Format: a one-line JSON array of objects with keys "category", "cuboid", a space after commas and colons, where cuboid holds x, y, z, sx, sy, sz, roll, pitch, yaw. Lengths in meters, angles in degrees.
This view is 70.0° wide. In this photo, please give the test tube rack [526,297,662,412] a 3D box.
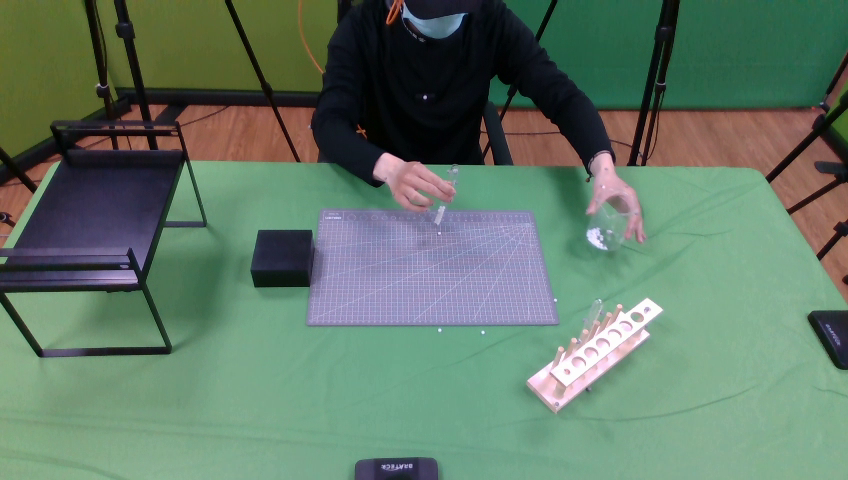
[{"category": "test tube rack", "cuboid": [0.284, 0.176, 1.007, 0.242, 0.085, 0.066, -29, 54, -27]}]

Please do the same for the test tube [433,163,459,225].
[{"category": "test tube", "cuboid": [0.040, -0.084, 1.140, 0.017, 0.151, 0.017, 9, 45, -9]}]

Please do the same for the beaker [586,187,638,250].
[{"category": "beaker", "cuboid": [0.350, -0.035, 1.143, 0.074, 0.101, 0.084, 23, 48, 19]}]

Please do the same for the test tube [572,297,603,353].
[{"category": "test tube", "cuboid": [0.263, 0.141, 0.977, 0.017, 0.151, 0.017, 2, 47, -2]}]
